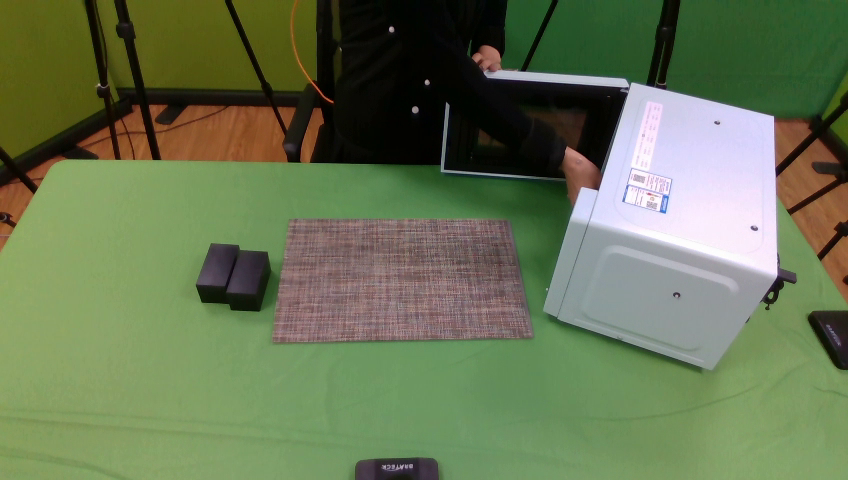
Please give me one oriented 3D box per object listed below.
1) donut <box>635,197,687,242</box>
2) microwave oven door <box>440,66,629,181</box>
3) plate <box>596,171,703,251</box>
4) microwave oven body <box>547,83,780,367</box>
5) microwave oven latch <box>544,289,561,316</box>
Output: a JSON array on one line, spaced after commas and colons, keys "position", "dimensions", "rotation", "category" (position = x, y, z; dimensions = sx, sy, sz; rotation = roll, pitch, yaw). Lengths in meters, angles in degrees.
[{"position": [0.453, -0.039, 1.161], "dimensions": [0.099, 0.048, 0.098], "rotation": [3, 57, -5], "category": "donut"}, {"position": [0.219, -0.239, 1.266], "dimensions": [0.356, 0.245, 0.039], "rotation": [4, 46, 0], "category": "microwave oven door"}, {"position": [0.431, -0.053, 1.177], "dimensions": [0.209, 0.038, 0.208], "rotation": [7, 46, -7], "category": "plate"}, {"position": [0.445, -0.041, 1.101], "dimensions": [0.325, 0.261, 0.440], "rotation": [17, 47, 13], "category": "microwave oven body"}, {"position": [0.237, 0.098, 1.087], "dimensions": [0.030, 0.029, 0.079], "rotation": [18, 47, 14], "category": "microwave oven latch"}]
